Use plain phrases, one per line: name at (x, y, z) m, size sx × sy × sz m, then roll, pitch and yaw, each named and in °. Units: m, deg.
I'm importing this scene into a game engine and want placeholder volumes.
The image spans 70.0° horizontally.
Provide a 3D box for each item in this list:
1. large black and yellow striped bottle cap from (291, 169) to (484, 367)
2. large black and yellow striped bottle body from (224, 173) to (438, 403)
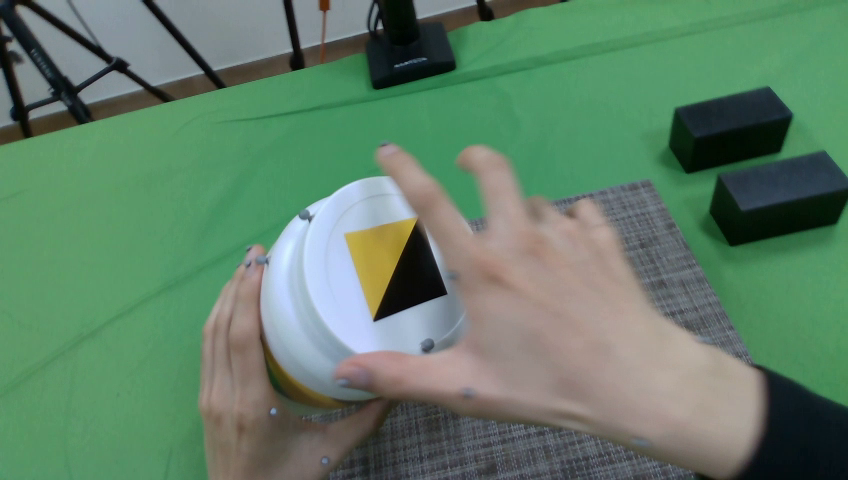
large black and yellow striped bottle cap at (-0.018, 0.014, 0.348) m, size 0.116 × 0.019 × 0.114 m, roll 10°, pitch 67°, yaw -25°
large black and yellow striped bottle body at (-0.056, 0.039, 0.417) m, size 0.131 × 0.184 × 0.130 m, roll 10°, pitch 67°, yaw -25°
